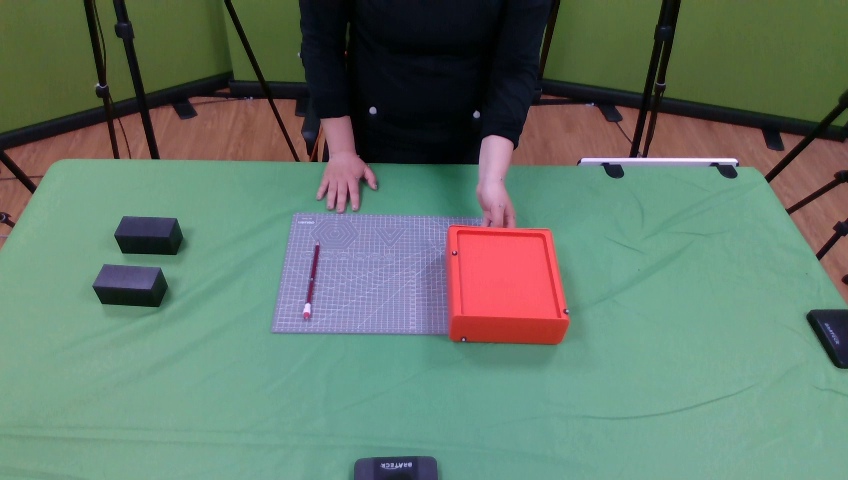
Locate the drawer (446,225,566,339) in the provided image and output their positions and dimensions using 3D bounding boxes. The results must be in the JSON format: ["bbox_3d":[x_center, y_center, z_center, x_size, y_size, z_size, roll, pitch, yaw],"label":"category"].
[{"bbox_3d":[0.140,0.072,1.095,0.195,0.073,0.210,3,47,-3],"label":"drawer"}]

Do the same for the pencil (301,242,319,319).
[{"bbox_3d":[-0.208,0.070,1.119,0.012,0.012,0.193,2,43,-2],"label":"pencil"}]

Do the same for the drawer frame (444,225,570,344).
[{"bbox_3d":[0.141,0.077,1.088,0.202,0.083,0.212,2,47,-4],"label":"drawer frame"}]
